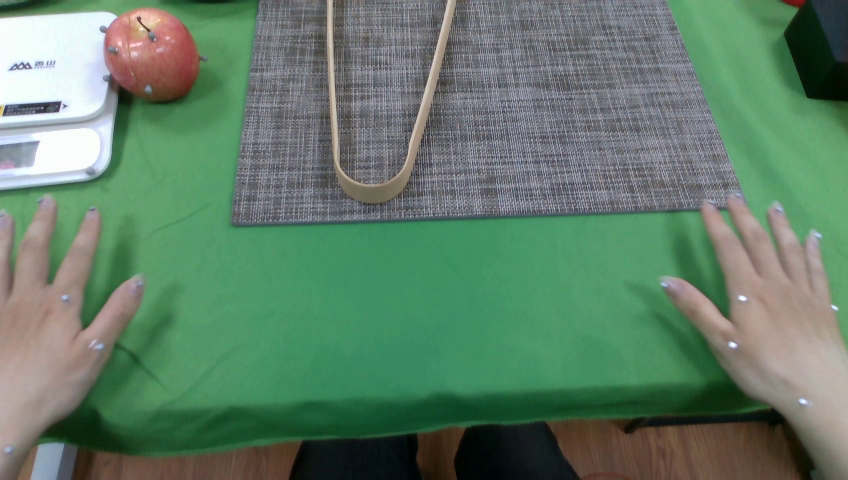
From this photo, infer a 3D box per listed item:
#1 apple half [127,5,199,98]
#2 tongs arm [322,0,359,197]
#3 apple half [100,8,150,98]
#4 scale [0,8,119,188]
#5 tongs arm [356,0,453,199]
[{"bbox_3d":[-0.240,-0.175,0.566,0.053,0.075,0.080,-10,56,-10],"label":"apple half"},{"bbox_3d":[-0.089,-0.206,0.612,0.028,0.028,0.384,-2,59,-8],"label":"tongs arm"},{"bbox_3d":[-0.278,-0.168,0.559,0.033,0.082,0.080,-10,59,-11],"label":"apple half"},{"bbox_3d":[-0.363,-0.137,0.564,0.149,0.032,0.199,-7,60,-6],"label":"scale"},{"bbox_3d":[-0.004,-0.202,0.610,0.051,0.027,0.381,9,60,2],"label":"tongs arm"}]
